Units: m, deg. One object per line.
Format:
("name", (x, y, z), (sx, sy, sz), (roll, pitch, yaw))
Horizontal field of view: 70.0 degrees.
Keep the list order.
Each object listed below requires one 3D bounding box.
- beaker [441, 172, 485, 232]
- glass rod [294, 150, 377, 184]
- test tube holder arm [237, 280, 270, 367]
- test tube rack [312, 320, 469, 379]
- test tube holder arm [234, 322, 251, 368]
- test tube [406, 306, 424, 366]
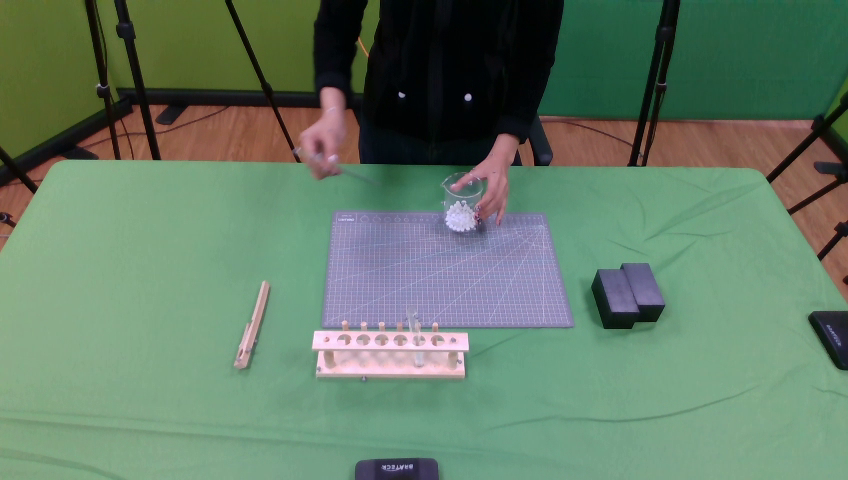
("beaker", (0.072, -0.072, 1.182), (0.084, 0.101, 0.073), (7, 45, 5))
("glass rod", (-0.152, -0.129, 1.083), (0.201, 0.008, 0.008), (17, 27, -50))
("test tube holder arm", (-0.291, 0.140, 1.042), (0.013, 0.015, 0.177), (-17, 41, 22))
("test tube rack", (-0.054, 0.173, 0.984), (0.242, 0.085, 0.066), (1, 46, -3))
("test tube holder arm", (-0.299, 0.173, 1.013), (0.010, 0.015, 0.087), (-16, 42, 22))
("test tube", (-0.013, 0.152, 0.939), (0.017, 0.151, 0.017), (-3, 48, 3))
